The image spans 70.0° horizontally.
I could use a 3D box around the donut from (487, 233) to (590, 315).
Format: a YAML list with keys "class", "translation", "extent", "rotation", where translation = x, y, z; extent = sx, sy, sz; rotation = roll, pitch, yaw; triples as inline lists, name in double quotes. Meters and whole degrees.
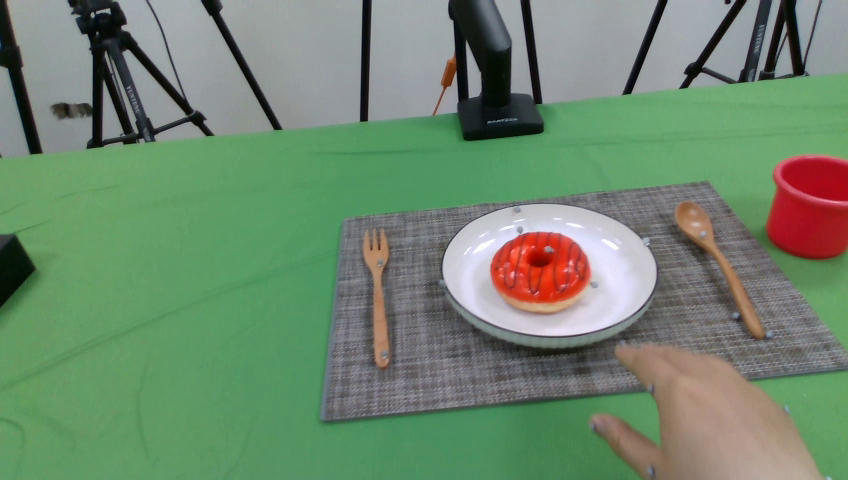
- class: "donut"
  translation: [0.112, 0.033, 0.592]
  extent: [0.099, 0.049, 0.098]
  rotation: [-4, 39, 4]

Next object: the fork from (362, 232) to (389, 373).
- class: "fork"
  translation: [-0.048, 0.055, 0.618]
  extent: [0.028, 0.019, 0.205]
  rotation: [-1, 34, -6]

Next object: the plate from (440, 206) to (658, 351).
- class: "plate"
  translation: [0.121, 0.037, 0.603]
  extent: [0.209, 0.038, 0.207]
  rotation: [-3, 36, 3]

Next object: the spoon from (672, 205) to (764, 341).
- class: "spoon"
  translation: [0.294, 0.026, 0.608]
  extent: [0.042, 0.022, 0.192]
  rotation: [10, 35, -8]
